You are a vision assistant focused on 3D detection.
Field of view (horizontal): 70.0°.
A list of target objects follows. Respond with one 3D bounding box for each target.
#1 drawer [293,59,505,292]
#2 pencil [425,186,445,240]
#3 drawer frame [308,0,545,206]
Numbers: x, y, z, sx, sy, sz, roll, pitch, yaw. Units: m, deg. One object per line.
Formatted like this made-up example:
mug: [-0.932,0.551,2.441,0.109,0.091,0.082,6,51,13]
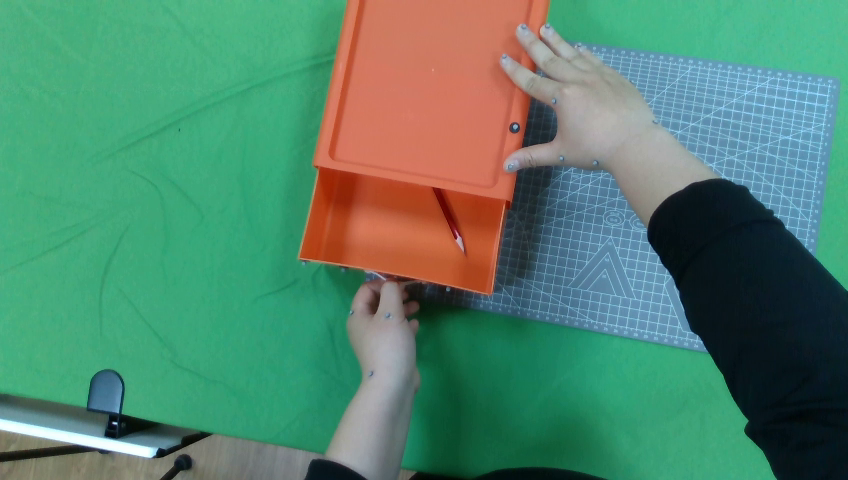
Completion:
drawer: [-0.012,-0.064,0.615,0.194,0.073,0.211,10,87,7]
pencil: [-0.002,-0.077,0.642,0.012,0.012,0.194,-17,91,5]
drawer frame: [0.005,-0.155,0.620,0.201,0.083,0.213,10,87,7]
